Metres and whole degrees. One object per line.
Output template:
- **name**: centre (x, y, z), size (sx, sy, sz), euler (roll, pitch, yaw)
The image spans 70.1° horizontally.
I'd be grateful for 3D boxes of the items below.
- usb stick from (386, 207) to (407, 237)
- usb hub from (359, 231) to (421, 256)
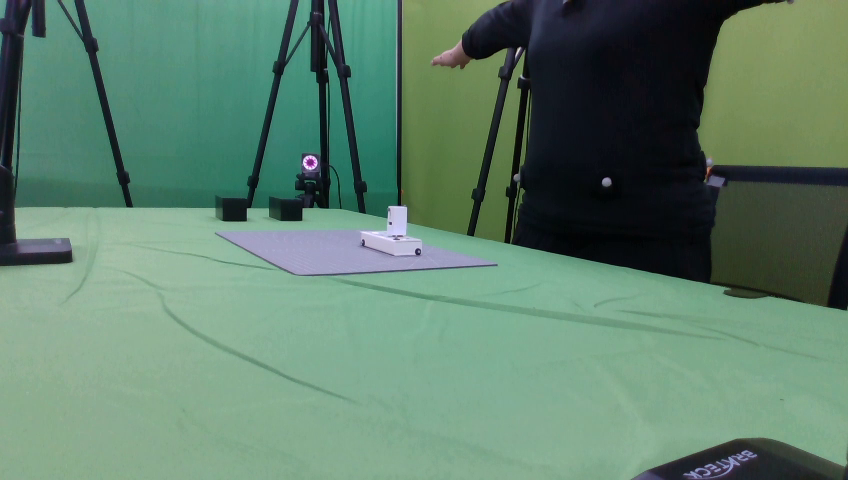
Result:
- **usb stick**: centre (-0.043, -0.022, 0.937), size (0.027, 0.059, 0.021), euler (-5, 10, -34)
- **usb hub**: centre (-0.056, 0.004, 0.954), size (0.050, 0.025, 0.124), euler (-2, 8, -31)
